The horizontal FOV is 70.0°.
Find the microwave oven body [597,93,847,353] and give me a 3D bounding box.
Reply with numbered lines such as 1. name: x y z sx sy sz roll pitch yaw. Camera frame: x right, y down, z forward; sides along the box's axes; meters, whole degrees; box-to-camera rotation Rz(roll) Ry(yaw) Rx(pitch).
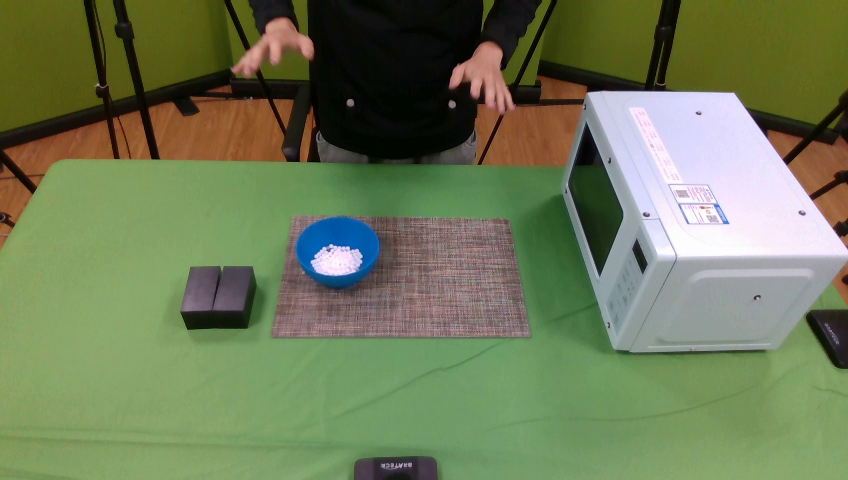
1. microwave oven body: 0.475 -0.041 1.109 0.326 0.261 0.438 -1 45 -4

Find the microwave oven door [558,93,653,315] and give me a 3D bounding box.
1. microwave oven door: 0.327 -0.074 1.123 0.039 0.245 0.353 -1 46 -5

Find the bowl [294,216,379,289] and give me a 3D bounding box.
1. bowl: -0.158 0.036 1.110 0.151 0.077 0.150 3 45 -2

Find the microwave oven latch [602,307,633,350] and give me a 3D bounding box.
1. microwave oven latch: 0.331 0.153 1.044 0.030 0.029 0.078 -1 45 -4
